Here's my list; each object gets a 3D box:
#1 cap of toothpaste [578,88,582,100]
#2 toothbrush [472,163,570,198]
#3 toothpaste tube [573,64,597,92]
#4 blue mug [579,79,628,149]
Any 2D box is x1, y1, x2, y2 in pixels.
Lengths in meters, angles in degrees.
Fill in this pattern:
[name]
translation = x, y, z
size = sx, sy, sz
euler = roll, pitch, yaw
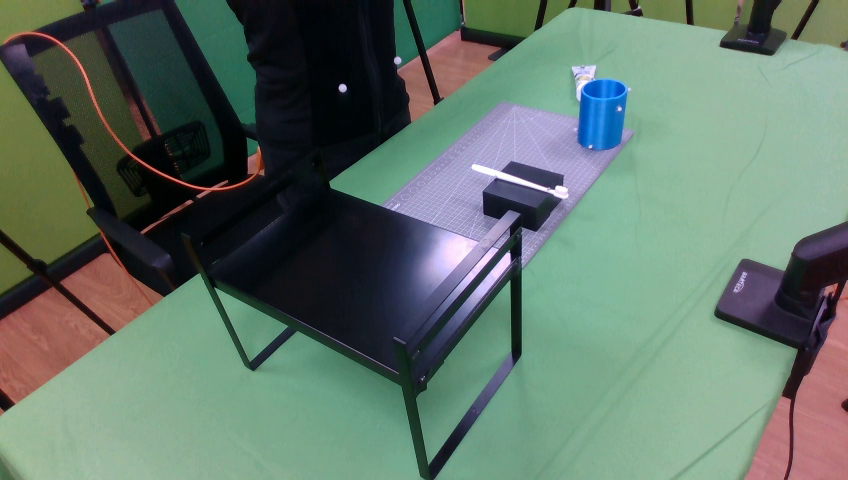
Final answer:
[cap of toothpaste]
translation = 0.342, -0.308, 1.270
size = 0.037, 0.037, 0.011
euler = 1, 38, 10
[toothbrush]
translation = 0.157, -0.101, 0.996
size = 0.180, 0.017, 0.014
euler = 22, 55, 30
[toothpaste tube]
translation = 0.358, -0.355, 1.331
size = 0.055, 0.034, 0.164
euler = 5, 38, 8
[blue mug]
translation = 0.336, -0.246, 1.143
size = 0.082, 0.106, 0.116
euler = 0, 41, 10
